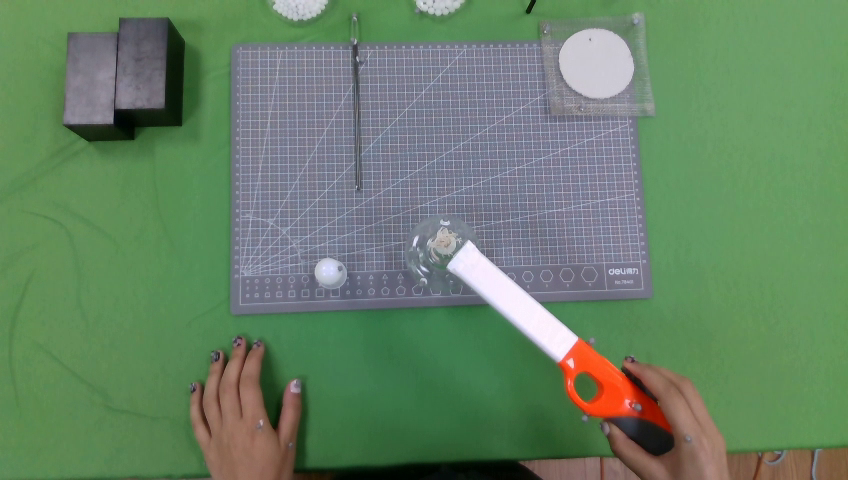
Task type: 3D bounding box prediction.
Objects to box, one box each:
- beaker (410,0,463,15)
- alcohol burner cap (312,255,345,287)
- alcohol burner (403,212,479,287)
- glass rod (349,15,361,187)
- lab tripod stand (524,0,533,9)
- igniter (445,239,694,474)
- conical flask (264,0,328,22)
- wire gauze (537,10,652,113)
[{"bbox_3d":[0.015,-0.300,0.653,0.074,0.100,0.083,0,80,-3],"label":"beaker"},{"bbox_3d":[-0.100,0.030,0.624,0.034,0.048,0.033,1,81,-3],"label":"alcohol burner cap"},{"bbox_3d":[0.017,0.008,0.597,0.078,0.119,0.077,0,83,-2],"label":"alcohol burner"},{"bbox_3d":[-0.076,-0.155,0.668,0.008,0.008,0.199,-2,81,-4],"label":"glass rod"},{"bbox_3d":[0.174,-0.324,0.648,0.148,0.131,0.148,0,83,-3],"label":"lab tripod stand"},{"bbox_3d":[0.130,0.101,0.527,0.276,0.025,0.057,41,81,-1],"label":"igniter"},{"bbox_3d":[-0.142,-0.290,0.631,0.075,0.122,0.075,0,81,-3],"label":"conical flask"},{"bbox_3d":[0.195,-0.202,0.692,0.125,0.011,0.121,-3,82,-4],"label":"wire gauze"}]
